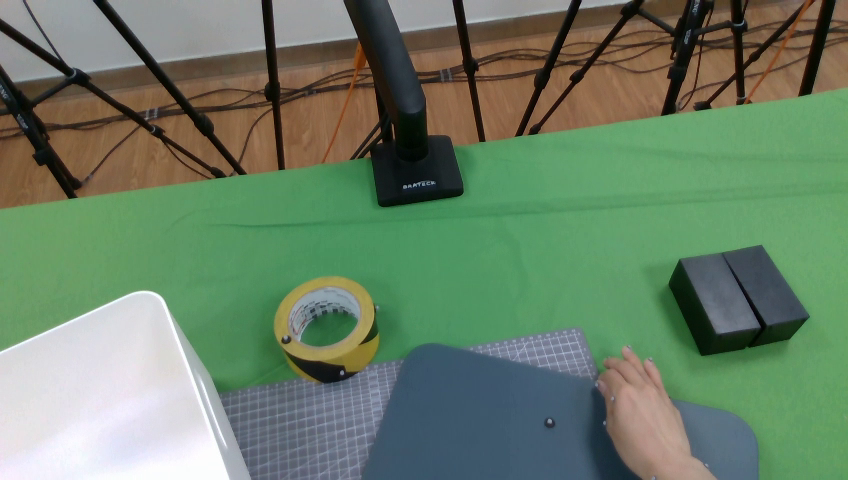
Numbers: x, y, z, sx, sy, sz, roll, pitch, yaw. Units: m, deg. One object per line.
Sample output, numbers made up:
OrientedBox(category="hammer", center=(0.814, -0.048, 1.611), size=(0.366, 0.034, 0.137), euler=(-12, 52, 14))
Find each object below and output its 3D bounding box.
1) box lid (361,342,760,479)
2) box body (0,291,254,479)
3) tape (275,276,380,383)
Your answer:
OrientedBox(category="box lid", center=(0.124, 0.247, 0.577), size=(0.370, 0.015, 0.261), euler=(11, 55, 13))
OrientedBox(category="box body", center=(-0.337, 0.246, 0.514), size=(0.364, 0.162, 0.251), euler=(-26, 56, -16))
OrientedBox(category="tape", center=(-0.109, 0.099, 0.685), size=(0.117, 0.053, 0.115), euler=(-1, 50, 2))
